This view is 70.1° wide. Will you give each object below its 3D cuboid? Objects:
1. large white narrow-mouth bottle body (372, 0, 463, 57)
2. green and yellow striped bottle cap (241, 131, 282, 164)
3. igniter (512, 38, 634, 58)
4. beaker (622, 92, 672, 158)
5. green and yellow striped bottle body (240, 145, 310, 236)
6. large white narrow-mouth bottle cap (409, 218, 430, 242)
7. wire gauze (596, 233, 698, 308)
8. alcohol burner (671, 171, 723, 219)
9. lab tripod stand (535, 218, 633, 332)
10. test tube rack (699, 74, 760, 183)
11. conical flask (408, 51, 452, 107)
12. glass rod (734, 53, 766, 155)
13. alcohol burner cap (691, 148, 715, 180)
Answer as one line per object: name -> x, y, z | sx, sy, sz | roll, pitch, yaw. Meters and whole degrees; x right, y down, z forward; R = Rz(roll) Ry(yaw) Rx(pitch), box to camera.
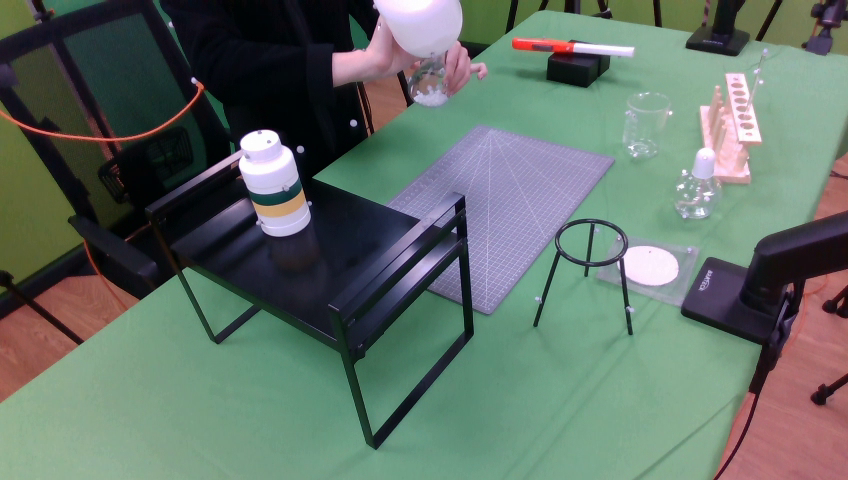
large white narrow-mouth bottle body -> 0.000, -0.308, 0.826 | 0.101, 0.195, 0.101 | -1, 85, 12
green and yellow striped bottle cap -> -0.187, -0.107, 0.695 | 0.045, 0.020, 0.045 | -3, 39, 3
igniter -> 0.328, -0.433, 1.360 | 0.275, 0.025, 0.057 | 12, 33, 20
beaker -> 0.402, -0.210, 1.106 | 0.074, 0.101, 0.083 | -8, 40, -2
green and yellow striped bottle body -> -0.181, -0.069, 0.729 | 0.063, 0.120, 0.063 | -4, 40, 4
large white narrow-mouth bottle cap -> -0.008, -0.017, 0.999 | 0.038, 0.024, 0.037 | -3, 39, 3
wire gauze -> 0.331, 0.038, 0.897 | 0.124, 0.011, 0.121 | 18, 47, 26
alcohol burner -> 0.434, -0.093, 0.955 | 0.078, 0.119, 0.077 | -3, 43, 3
lab tripod stand -> 0.215, 0.050, 0.803 | 0.148, 0.132, 0.147 | -4, 43, 4
test tube rack -> 0.547, -0.208, 1.095 | 0.066, 0.085, 0.242 | 6, 42, 16
conical flask -> 0.013, -0.277, 0.977 | 0.075, 0.122, 0.075 | 2, 69, -4
glass rod -> 0.540, -0.220, 1.007 | 0.008, 0.201, 0.008 | -5, 46, 6
alcohol burner cap -> 0.432, -0.120, 0.930 | 0.034, 0.048, 0.033 | -6, 48, 8
